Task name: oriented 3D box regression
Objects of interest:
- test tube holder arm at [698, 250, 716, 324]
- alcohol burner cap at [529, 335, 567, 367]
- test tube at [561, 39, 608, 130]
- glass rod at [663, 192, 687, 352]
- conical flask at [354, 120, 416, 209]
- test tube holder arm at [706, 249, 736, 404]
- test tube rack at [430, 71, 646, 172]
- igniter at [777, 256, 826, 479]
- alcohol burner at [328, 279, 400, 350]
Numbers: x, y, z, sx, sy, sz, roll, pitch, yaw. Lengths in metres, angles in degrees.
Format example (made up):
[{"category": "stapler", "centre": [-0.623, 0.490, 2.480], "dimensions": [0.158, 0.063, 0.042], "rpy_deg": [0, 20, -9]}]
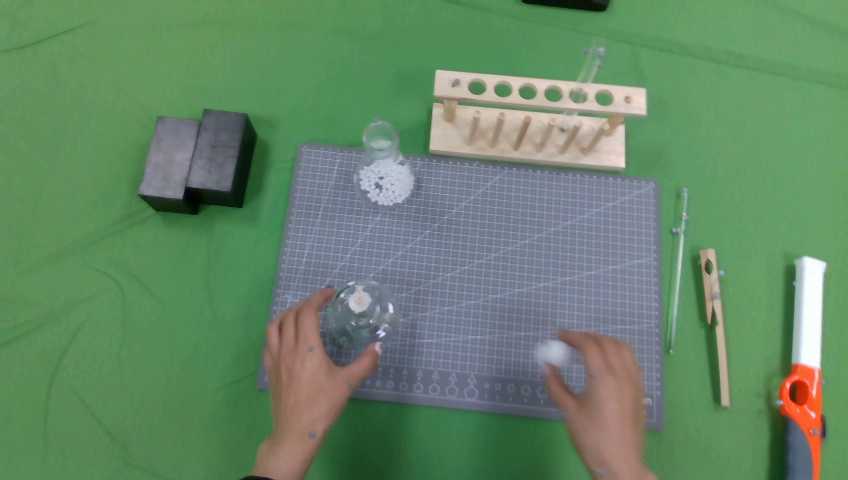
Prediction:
[{"category": "test tube holder arm", "centre": [0.334, 0.055, 0.712], "dimensions": [0.010, 0.015, 0.087], "rpy_deg": [-12, 70, 33]}, {"category": "alcohol burner cap", "centre": [0.129, 0.112, 0.619], "dimensions": [0.034, 0.048, 0.033], "rpy_deg": [2, 76, -6]}, {"category": "test tube", "centre": [0.179, -0.171, 0.687], "dimensions": [0.017, 0.151, 0.017], "rpy_deg": [1, 67, -2]}, {"category": "glass rod", "centre": [0.299, 0.035, 0.721], "dimensions": [0.008, 0.008, 0.199], "rpy_deg": [13, 75, 2]}, {"category": "conical flask", "centre": [-0.045, -0.089, 0.683], "dimensions": [0.075, 0.122, 0.075], "rpy_deg": [1, 73, -2]}, {"category": "test tube holder arm", "centre": [0.340, 0.097, 0.696], "dimensions": [0.013, 0.015, 0.177], "rpy_deg": [-13, 69, 32]}, {"category": "test tube rack", "centre": [0.132, -0.140, 0.728], "dimensions": [0.242, 0.085, 0.066], "rpy_deg": [5, 73, -1]}, {"category": "igniter", "centre": [0.426, 0.151, 0.681], "dimensions": [0.057, 0.025, 0.275], "rpy_deg": [16, 73, -7]}, {"category": "alcohol burner", "centre": [-0.065, 0.074, 0.637], "dimensions": [0.078, 0.120, 0.077], "rpy_deg": [0, 71, 0]}]
